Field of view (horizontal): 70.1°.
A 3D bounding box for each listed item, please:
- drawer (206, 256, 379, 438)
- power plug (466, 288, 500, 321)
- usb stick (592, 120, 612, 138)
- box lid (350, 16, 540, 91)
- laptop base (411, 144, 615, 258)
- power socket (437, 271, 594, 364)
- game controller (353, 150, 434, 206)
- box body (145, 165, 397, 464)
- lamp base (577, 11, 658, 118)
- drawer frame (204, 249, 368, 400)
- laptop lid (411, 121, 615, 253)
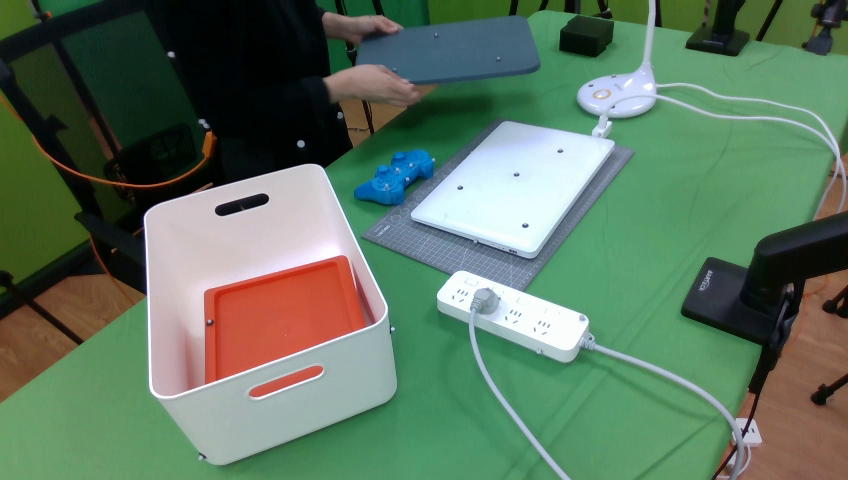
[{"bbox_3d":[-0.177,0.130,0.787,0.195,0.073,0.210,-14,39,-10],"label":"drawer"},{"bbox_3d":[0.072,0.093,0.813,0.073,0.053,0.035,-37,49,-28],"label":"power plug"},{"bbox_3d":[0.335,-0.203,1.149,0.021,0.027,0.059,25,53,26],"label":"usb stick"},{"bbox_3d":[0.042,-0.385,1.236,0.371,0.015,0.262,-5,41,5],"label":"box lid"},{"bbox_3d":[0.167,-0.102,1.074,0.234,0.023,0.355,17,45,30],"label":"laptop base"},{"bbox_3d":[0.118,0.102,0.830,0.225,0.033,0.072,20,48,28],"label":"power socket"},{"bbox_3d":[-0.051,-0.121,1.105,0.096,0.052,0.155,23,49,28],"label":"game controller"},{"bbox_3d":[-0.205,0.080,0.802,0.255,0.161,0.361,-18,41,-13],"label":"box body"},{"bbox_3d":[0.406,-0.363,1.223,0.180,0.181,0.159,-20,42,-18],"label":"lamp base"},{"bbox_3d":[-0.174,0.129,0.791,0.202,0.083,0.212,-16,45,-8],"label":"drawer frame"},{"bbox_3d":[0.164,-0.112,1.068,0.240,0.013,0.357,19,46,31],"label":"laptop lid"}]
